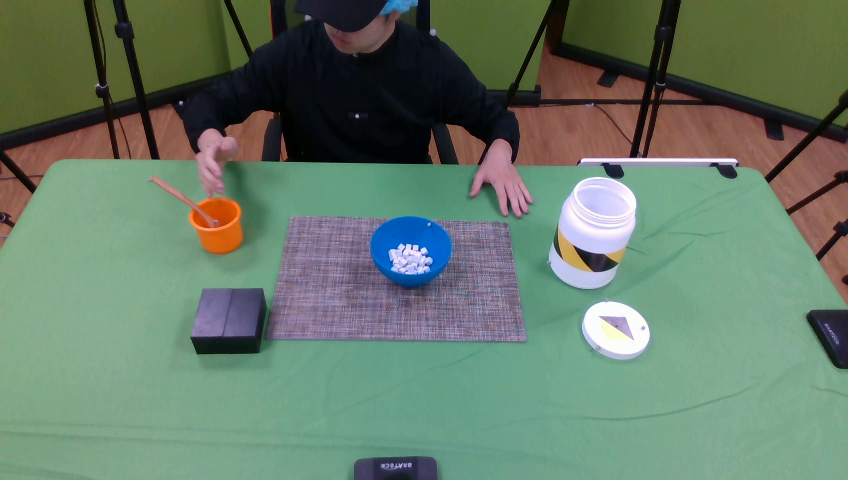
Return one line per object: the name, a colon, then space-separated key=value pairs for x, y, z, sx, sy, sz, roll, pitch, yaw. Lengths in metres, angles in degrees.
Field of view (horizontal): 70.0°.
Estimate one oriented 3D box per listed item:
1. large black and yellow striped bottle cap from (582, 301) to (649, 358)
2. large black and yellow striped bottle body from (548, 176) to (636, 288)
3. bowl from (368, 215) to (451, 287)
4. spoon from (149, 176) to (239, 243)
large black and yellow striped bottle cap: x=0.340 y=0.157 z=1.077 sx=0.115 sy=0.019 sz=0.114 roll=1 pitch=47 yaw=-1
large black and yellow striped bottle body: x=0.310 y=-0.014 z=1.123 sx=0.131 sy=0.185 sz=0.130 roll=2 pitch=46 yaw=-2
bowl: x=-0.027 y=0.033 z=1.119 sx=0.151 sy=0.077 sz=0.150 roll=2 pitch=46 yaw=-2
spoon: x=-0.427 y=-0.057 z=1.132 sx=0.195 sy=0.021 sz=0.041 roll=44 pitch=37 yaw=-25
